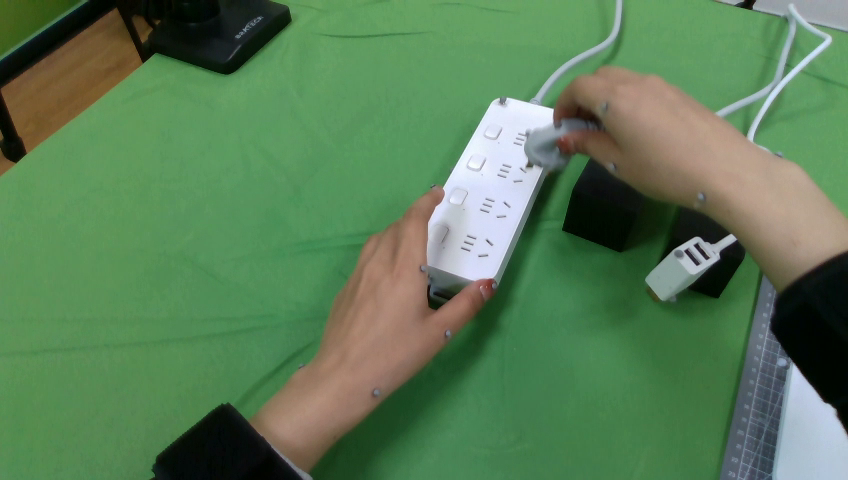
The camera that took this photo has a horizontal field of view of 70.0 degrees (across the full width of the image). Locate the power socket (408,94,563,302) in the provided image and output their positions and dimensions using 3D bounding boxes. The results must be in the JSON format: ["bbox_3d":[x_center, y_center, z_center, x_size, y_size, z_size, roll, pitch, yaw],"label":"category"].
[{"bbox_3d":[0.058,-0.045,0.509,0.072,0.033,0.225,19,55,14],"label":"power socket"}]

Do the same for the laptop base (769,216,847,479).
[{"bbox_3d":[0.415,0.127,0.383,0.352,0.023,0.234,21,59,16],"label":"laptop base"}]

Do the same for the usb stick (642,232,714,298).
[{"bbox_3d":[0.171,0.021,0.417,0.027,0.059,0.021,-28,68,-22],"label":"usb stick"}]

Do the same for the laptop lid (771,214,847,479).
[{"bbox_3d":[0.414,0.121,0.373,0.355,0.013,0.240,22,58,17],"label":"laptop lid"}]

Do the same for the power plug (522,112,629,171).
[{"bbox_3d":[0.109,-0.068,0.450,0.073,0.053,0.035,11,61,-8],"label":"power plug"}]
